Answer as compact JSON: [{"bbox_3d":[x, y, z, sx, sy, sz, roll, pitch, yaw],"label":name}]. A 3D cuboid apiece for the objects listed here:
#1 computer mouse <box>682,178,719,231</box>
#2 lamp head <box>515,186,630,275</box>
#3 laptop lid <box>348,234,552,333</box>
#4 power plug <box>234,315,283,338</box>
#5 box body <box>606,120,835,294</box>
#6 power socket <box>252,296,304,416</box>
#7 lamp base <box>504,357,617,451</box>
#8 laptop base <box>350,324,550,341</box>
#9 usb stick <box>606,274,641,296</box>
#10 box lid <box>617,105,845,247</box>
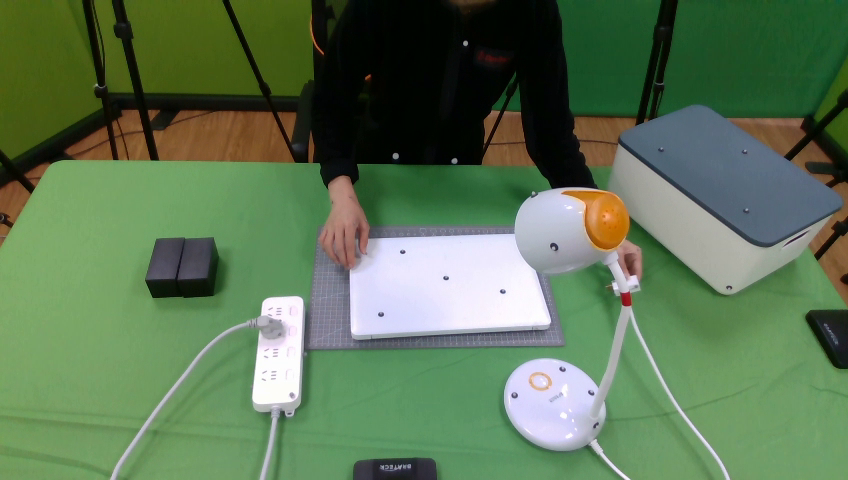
[{"bbox_3d":[0.596,-0.078,1.290,0.117,0.041,0.062,56,45,-7],"label":"computer mouse"},{"bbox_3d":[0.188,-0.013,0.728,0.112,0.112,0.122,-25,9,-25],"label":"lamp head"},{"bbox_3d":[0.039,0.072,1.117,0.357,0.013,0.240,-1,44,-5],"label":"laptop lid"},{"bbox_3d":[-0.269,0.143,1.000,0.072,0.053,0.035,4,47,3],"label":"power plug"},{"bbox_3d":[0.582,-0.088,1.230,0.254,0.161,0.361,-22,52,-23],"label":"box body"},{"bbox_3d":[-0.238,0.181,0.997,0.072,0.033,0.225,-3,47,-5],"label":"power socket"},{"bbox_3d":[0.220,0.211,0.902,0.160,0.181,0.178,-33,59,-30],"label":"lamp base"},{"bbox_3d":[0.038,0.082,1.124,0.355,0.023,0.234,-2,43,-6],"label":"laptop base"},{"bbox_3d":[0.364,0.085,1.111,0.059,0.021,0.027,-16,36,23],"label":"usb stick"},{"bbox_3d":[0.586,-0.138,1.176,0.263,0.015,0.369,-22,51,-23],"label":"box lid"}]
